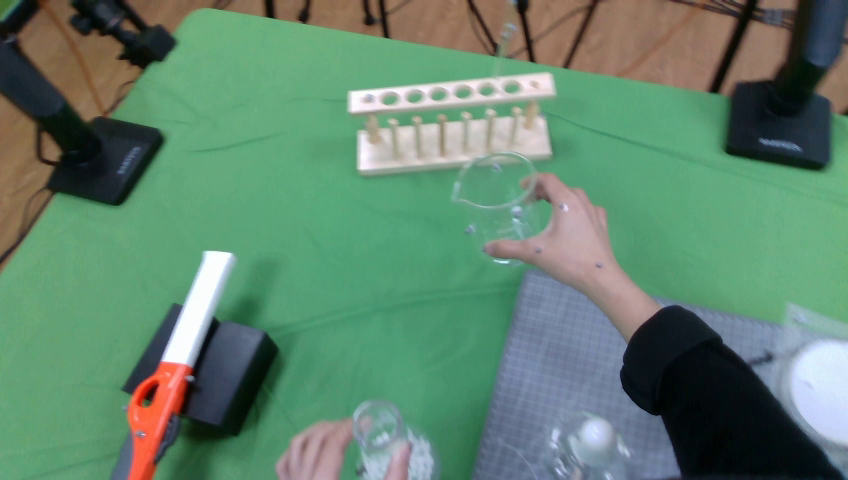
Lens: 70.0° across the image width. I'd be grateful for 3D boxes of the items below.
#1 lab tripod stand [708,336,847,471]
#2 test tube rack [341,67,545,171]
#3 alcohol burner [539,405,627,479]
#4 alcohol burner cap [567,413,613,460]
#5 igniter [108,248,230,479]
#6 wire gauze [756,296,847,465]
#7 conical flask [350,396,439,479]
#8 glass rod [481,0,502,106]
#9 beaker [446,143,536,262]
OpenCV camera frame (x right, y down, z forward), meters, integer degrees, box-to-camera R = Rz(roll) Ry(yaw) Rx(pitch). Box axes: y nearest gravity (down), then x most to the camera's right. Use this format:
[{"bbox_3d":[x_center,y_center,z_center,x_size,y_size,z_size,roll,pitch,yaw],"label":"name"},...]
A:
[{"bbox_3d":[0.328,0.149,0.531,0.148,0.132,0.147,-1,60,2],"label":"lab tripod stand"},{"bbox_3d":[0.025,-0.148,0.749,0.242,0.086,0.066,-5,61,1],"label":"test tube rack"},{"bbox_3d":[0.144,0.181,0.538,0.078,0.120,0.077,-1,60,2],"label":"alcohol burner"},{"bbox_3d":[0.141,0.162,0.507,0.034,0.048,0.033,0,54,0],"label":"alcohol burner cap"},{"bbox_3d":[-0.250,0.130,0.595,0.057,0.025,0.274,4,60,12],"label":"igniter"},{"bbox_3d":[0.332,0.114,0.472,0.121,0.011,0.124,18,64,12],"label":"wire gauze"},{"bbox_3d":[-0.030,0.166,0.493,0.075,0.123,0.074,-3,55,5],"label":"conical flask"},{"bbox_3d":[0.076,-0.200,0.698,0.008,0.201,0.008,1,61,-1],"label":"glass rod"},{"bbox_3d":[0.069,-0.031,0.591,0.084,0.101,0.073,-23,50,-1],"label":"beaker"}]
